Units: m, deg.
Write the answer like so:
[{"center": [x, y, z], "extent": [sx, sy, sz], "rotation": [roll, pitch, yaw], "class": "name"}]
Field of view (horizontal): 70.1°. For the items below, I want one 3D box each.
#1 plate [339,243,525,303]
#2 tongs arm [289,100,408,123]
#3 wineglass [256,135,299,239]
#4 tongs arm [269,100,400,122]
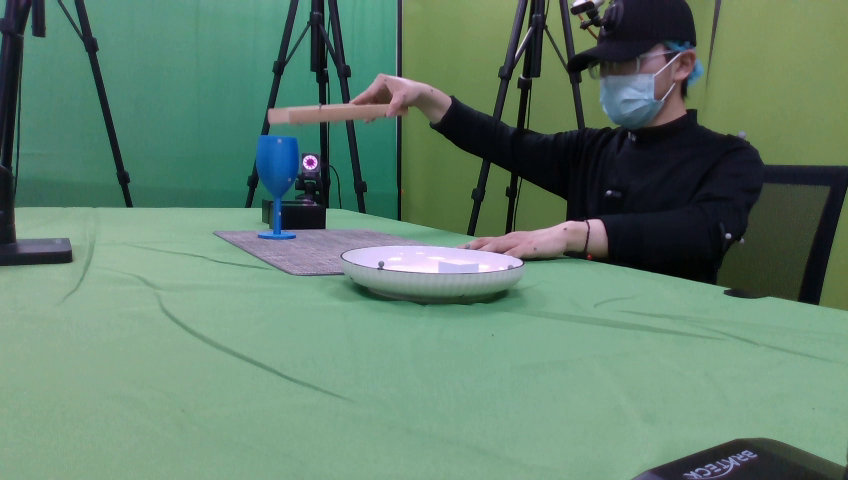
[{"center": [0.008, 0.035, 0.682], "extent": [0.209, 0.038, 0.209], "rotation": [3, 7, 0], "class": "plate"}, {"center": [-0.135, -0.251, 1.169], "extent": [0.050, 0.026, 0.386], "rotation": [9, 17, 32], "class": "tongs arm"}, {"center": [-0.252, -0.091, 1.035], "extent": [0.074, 0.172, 0.073], "rotation": [3, 7, 0], "class": "wineglass"}, {"center": [-0.161, -0.255, 1.183], "extent": [0.028, 0.028, 0.389], "rotation": [4, 15, 30], "class": "tongs arm"}]
